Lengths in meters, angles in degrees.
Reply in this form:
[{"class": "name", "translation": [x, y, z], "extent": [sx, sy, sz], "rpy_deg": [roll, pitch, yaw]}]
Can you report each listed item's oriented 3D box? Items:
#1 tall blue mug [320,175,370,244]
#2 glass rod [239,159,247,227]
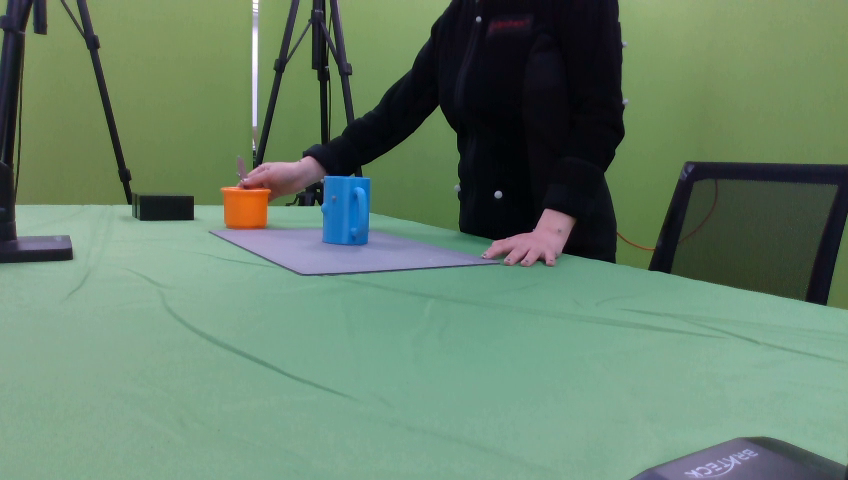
[{"class": "tall blue mug", "translation": [-0.117, -0.049, 0.991], "extent": [0.106, 0.108, 0.078], "rpy_deg": [7, 8, 33]}, {"class": "glass rod", "translation": [-0.350, -0.094, 1.167], "extent": [0.008, 0.008, 0.199], "rpy_deg": [0, 45, -20]}]
